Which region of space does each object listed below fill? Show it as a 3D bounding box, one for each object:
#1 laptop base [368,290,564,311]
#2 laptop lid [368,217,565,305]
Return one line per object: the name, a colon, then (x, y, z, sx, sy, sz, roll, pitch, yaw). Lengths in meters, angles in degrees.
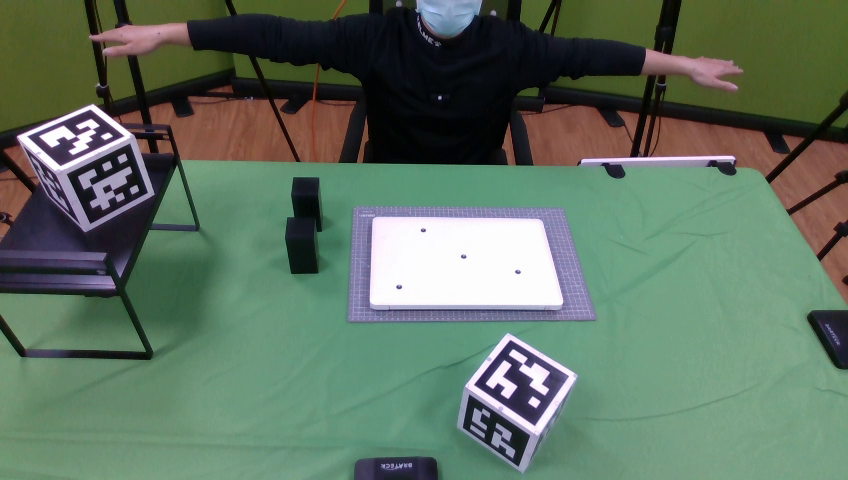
laptop base: (0.074, 0.044, 1.160, 0.354, 0.023, 0.234, 0, 43, -3)
laptop lid: (0.074, 0.034, 1.153, 0.357, 0.013, 0.240, 2, 44, -2)
